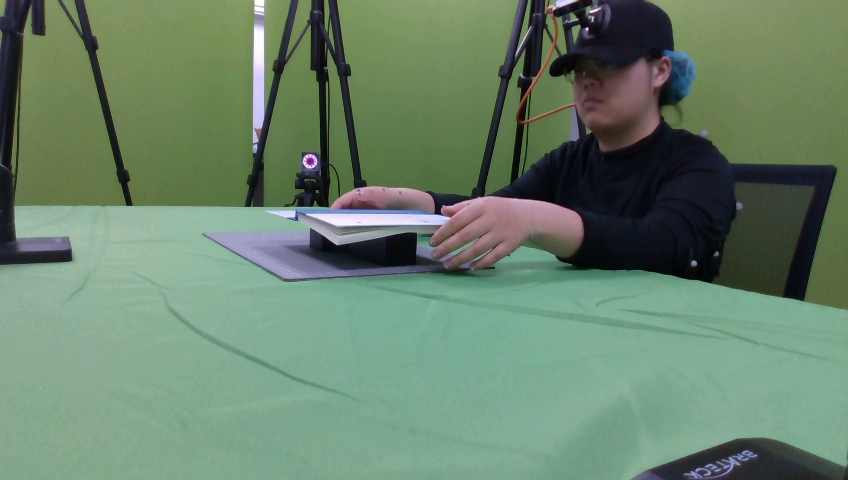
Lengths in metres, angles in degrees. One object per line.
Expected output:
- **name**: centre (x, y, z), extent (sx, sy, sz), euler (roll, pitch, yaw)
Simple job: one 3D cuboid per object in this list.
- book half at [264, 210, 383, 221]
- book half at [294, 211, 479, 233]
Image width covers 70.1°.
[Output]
- **book half**: centre (-0.125, -0.038, 0.944), extent (0.211, 0.007, 0.142), euler (-2, 8, -32)
- **book half**: centre (-0.051, -0.025, 0.823), extent (0.211, 0.016, 0.148), euler (-1, 9, -32)
